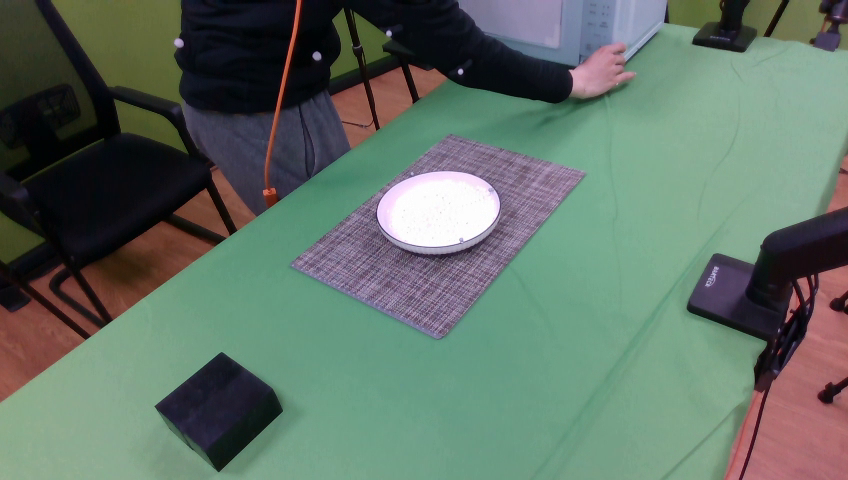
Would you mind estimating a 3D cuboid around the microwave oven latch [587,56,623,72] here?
[{"bbox_3d":[0.396,-0.396,1.331,0.030,0.029,0.078,-27,44,-20],"label":"microwave oven latch"}]

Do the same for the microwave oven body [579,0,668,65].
[{"bbox_3d":[0.325,-0.609,1.438,0.438,0.261,0.327,23,50,30],"label":"microwave oven body"}]

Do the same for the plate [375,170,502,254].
[{"bbox_3d":[0.024,-0.044,0.998,0.209,0.038,0.208,-3,41,3],"label":"plate"}]

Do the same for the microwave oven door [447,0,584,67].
[{"bbox_3d":[0.203,-0.544,1.372,0.353,0.245,0.039,23,49,30],"label":"microwave oven door"}]
